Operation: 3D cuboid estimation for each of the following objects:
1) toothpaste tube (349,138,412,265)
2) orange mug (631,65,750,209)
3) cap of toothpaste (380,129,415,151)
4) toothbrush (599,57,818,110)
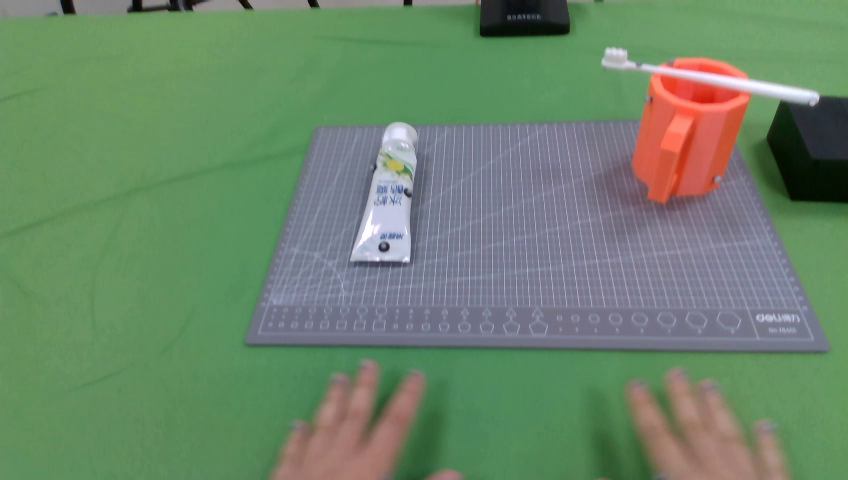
[{"bbox_3d":[-0.035,-0.041,0.586,0.055,0.035,0.163,-3,49,9],"label":"toothpaste tube"},{"bbox_3d":[0.238,-0.089,0.558,0.083,0.102,0.126,21,47,25],"label":"orange mug"},{"bbox_3d":[-0.028,-0.101,0.635,0.037,0.038,0.011,3,52,8],"label":"cap of toothpaste"},{"bbox_3d":[0.245,-0.138,0.532,0.181,0.017,0.014,18,44,22],"label":"toothbrush"}]
